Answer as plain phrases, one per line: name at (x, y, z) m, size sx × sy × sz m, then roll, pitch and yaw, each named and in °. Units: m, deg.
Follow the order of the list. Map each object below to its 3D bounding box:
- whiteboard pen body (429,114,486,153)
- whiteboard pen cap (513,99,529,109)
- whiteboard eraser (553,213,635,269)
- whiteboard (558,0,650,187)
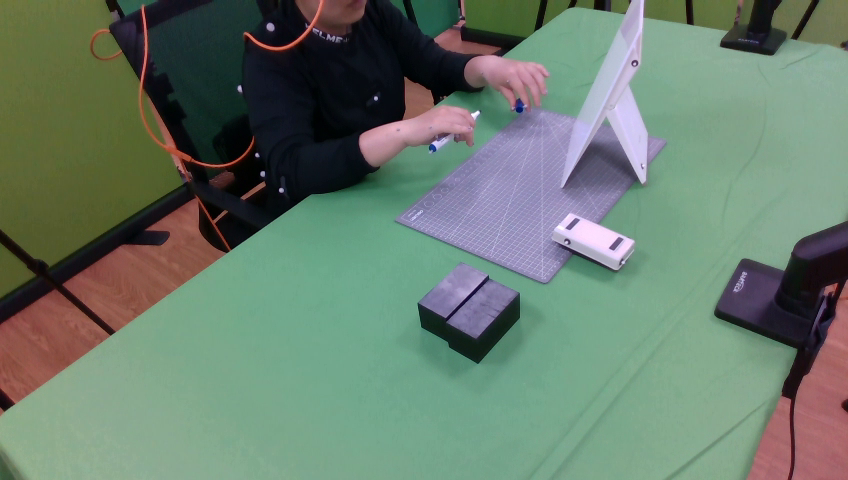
whiteboard pen body at (0.063, -0.193, 1.074) m, size 0.141 × 0.017 × 0.017 m, roll -36°, pitch 48°, yaw -28°
whiteboard pen cap at (0.194, -0.272, 1.211) m, size 0.018 × 0.018 × 0.033 m, roll -26°, pitch 31°, yaw -20°
whiteboard eraser at (0.258, 0.003, 0.918) m, size 0.112 × 0.042 × 0.056 m, roll 27°, pitch 49°, yaw 30°
whiteboard at (0.362, -0.238, 1.026) m, size 0.144 × 0.306 × 0.217 m, roll 21°, pitch 44°, yaw 3°
